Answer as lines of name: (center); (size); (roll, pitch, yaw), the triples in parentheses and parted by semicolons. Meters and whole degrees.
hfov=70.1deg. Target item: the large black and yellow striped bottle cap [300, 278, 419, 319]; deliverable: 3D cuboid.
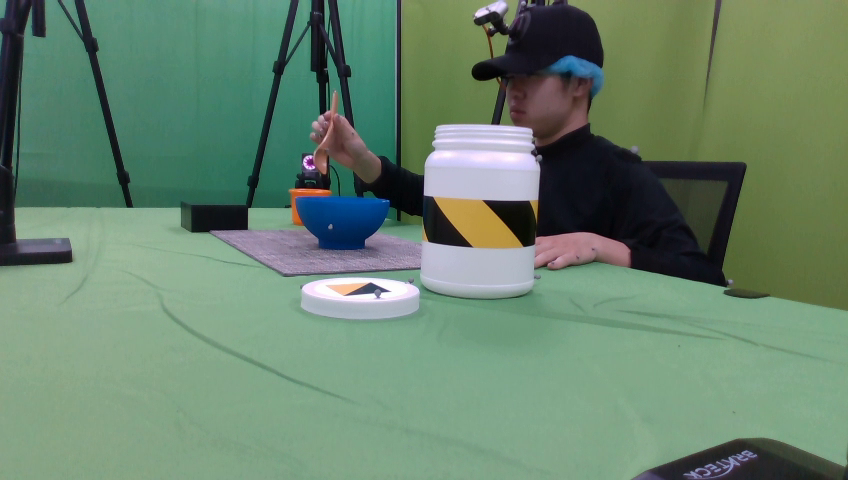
large black and yellow striped bottle cap: (-0.062, 0.055, 0.588); (0.115, 0.019, 0.115); (1, 6, 0)

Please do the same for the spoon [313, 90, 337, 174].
spoon: (-0.187, -0.213, 1.179); (0.021, 0.193, 0.042); (-4, -27, 28)

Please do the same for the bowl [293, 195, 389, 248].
bowl: (-0.132, -0.030, 0.961); (0.151, 0.077, 0.151); (2, 7, 0)

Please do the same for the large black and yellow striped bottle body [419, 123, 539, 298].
large black and yellow striped bottle body: (0.062, -0.036, 0.683); (0.131, 0.184, 0.130); (2, 7, 0)
